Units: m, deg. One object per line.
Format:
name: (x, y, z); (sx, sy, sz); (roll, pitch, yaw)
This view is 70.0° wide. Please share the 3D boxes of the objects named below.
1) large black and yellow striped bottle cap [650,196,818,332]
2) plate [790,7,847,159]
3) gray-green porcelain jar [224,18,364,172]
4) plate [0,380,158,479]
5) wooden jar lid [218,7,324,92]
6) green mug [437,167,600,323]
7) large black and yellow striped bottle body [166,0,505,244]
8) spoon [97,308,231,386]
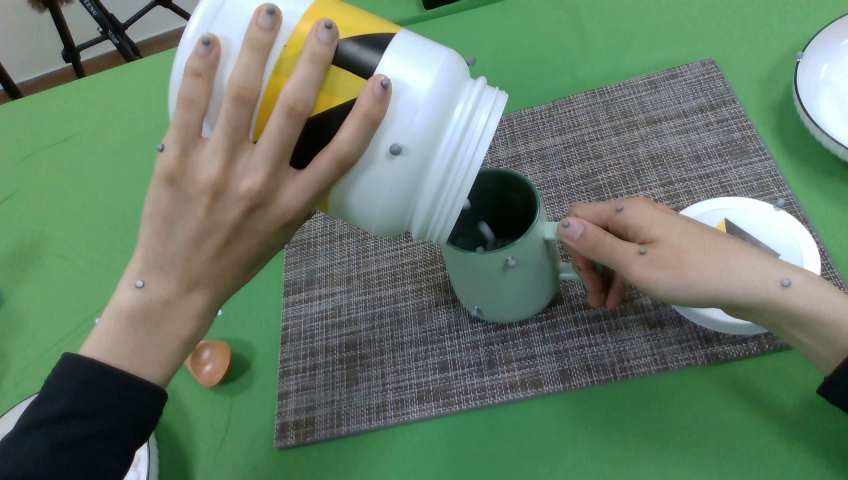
large black and yellow striped bottle cap: (0.235, 0.016, 0.465); (0.115, 0.019, 0.114); (-9, 54, 14)
plate: (0.413, -0.124, 0.493); (0.207, 0.039, 0.205); (-9, 55, 13)
gray-green porcelain jar: (-0.125, -0.141, 0.622); (0.105, 0.128, 0.105); (-9, 51, 12)
plate: (-0.307, 0.219, 0.494); (0.209, 0.038, 0.207); (-8, 55, 12)
wooden jar lid: (-0.142, -0.179, 0.574); (0.108, 0.021, 0.107); (-11, 53, 15)
green mug: (0.072, 0.007, 0.469); (0.125, 0.106, 0.092); (4, 58, 21)
large black and yellow striped bottle body: (-0.052, -0.081, 0.397); (0.184, 0.131, 0.130); (23, 63, -1)
spoon: (-0.250, 0.092, 0.571); (0.192, 0.022, 0.041); (16, 81, 26)
